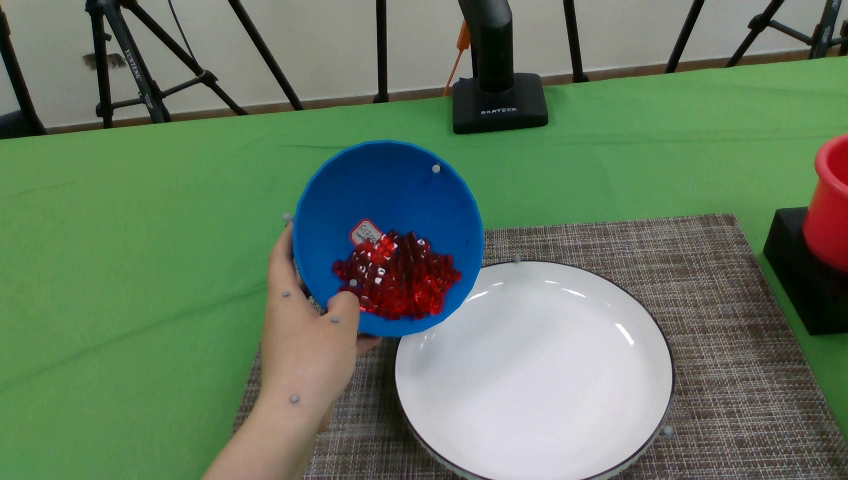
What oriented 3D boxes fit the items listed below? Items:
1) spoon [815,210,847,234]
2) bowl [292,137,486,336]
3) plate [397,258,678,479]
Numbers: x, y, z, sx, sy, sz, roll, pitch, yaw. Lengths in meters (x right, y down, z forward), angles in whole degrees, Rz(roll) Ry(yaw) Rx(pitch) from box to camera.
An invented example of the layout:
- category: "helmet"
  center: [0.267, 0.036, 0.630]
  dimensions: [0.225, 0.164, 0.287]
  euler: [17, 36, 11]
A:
- category: "spoon"
  center: [0.335, -0.026, 0.399]
  dimensions: [0.041, 0.194, 0.021]
  euler: [-20, 82, -6]
- category: "bowl"
  center: [-0.034, 0.001, 0.487]
  dimensions: [0.151, 0.151, 0.076]
  euler: [-28, 5, -20]
- category: "plate"
  center: [0.084, 0.098, 0.470]
  dimensions: [0.207, 0.039, 0.205]
  euler: [-5, 42, 5]
